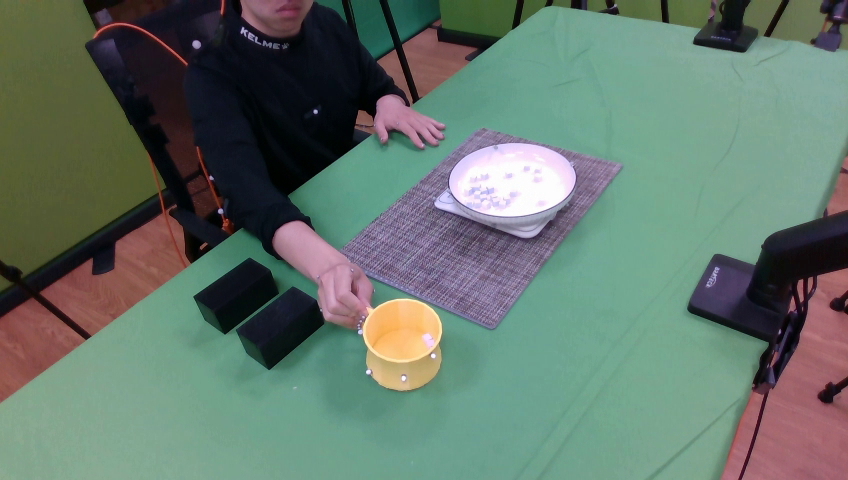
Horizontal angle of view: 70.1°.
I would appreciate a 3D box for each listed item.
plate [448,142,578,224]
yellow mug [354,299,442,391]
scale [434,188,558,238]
[{"bbox_3d":[0.145,-0.089,0.989,0.209,0.038,0.208,-4,41,4],"label":"plate"},{"bbox_3d":[-0.039,0.126,0.779,0.130,0.064,0.100,27,50,24],"label":"yellow mug"},{"bbox_3d":[0.132,-0.075,1.025,0.199,0.032,0.149,22,48,30],"label":"scale"}]
